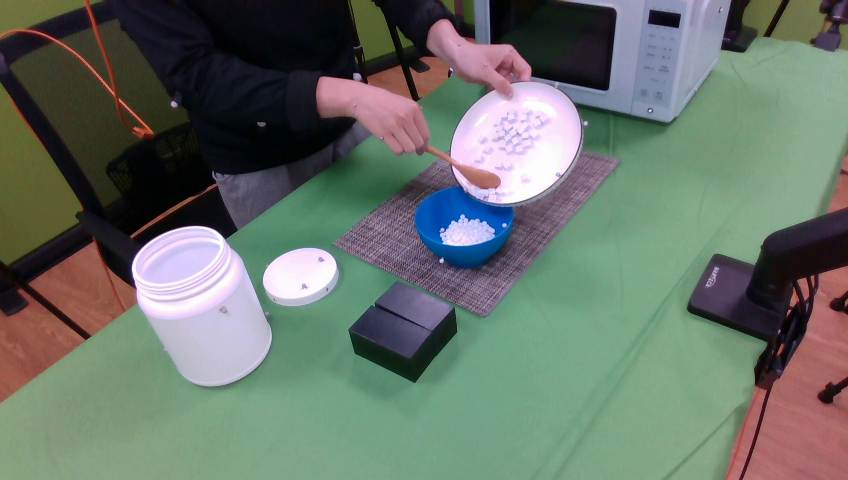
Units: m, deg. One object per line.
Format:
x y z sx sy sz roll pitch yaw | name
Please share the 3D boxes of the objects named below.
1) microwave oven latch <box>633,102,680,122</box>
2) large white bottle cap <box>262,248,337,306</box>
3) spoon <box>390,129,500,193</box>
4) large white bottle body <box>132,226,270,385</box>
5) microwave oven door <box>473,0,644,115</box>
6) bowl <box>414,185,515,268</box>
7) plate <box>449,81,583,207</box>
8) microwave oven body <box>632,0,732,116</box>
0.443 -0.249 1.157 0.078 0.029 0.030 21 49 30 | microwave oven latch
-0.193 0.056 0.934 0.115 0.018 0.114 -4 41 4 | large white bottle cap
0.031 -0.125 0.931 0.193 0.021 0.042 34 47 8 | spoon
-0.286 0.085 0.784 0.130 0.185 0.130 -4 41 4 | large white bottle body
0.257 -0.396 1.199 0.353 0.245 0.039 21 48 29 | microwave oven door
0.063 -0.010 0.922 0.151 0.077 0.150 -4 40 4 | bowl
0.140 -0.143 0.923 0.208 0.038 0.208 -9 68 23 | plate
0.377 -0.462 1.267 0.438 0.261 0.327 21 48 30 | microwave oven body
